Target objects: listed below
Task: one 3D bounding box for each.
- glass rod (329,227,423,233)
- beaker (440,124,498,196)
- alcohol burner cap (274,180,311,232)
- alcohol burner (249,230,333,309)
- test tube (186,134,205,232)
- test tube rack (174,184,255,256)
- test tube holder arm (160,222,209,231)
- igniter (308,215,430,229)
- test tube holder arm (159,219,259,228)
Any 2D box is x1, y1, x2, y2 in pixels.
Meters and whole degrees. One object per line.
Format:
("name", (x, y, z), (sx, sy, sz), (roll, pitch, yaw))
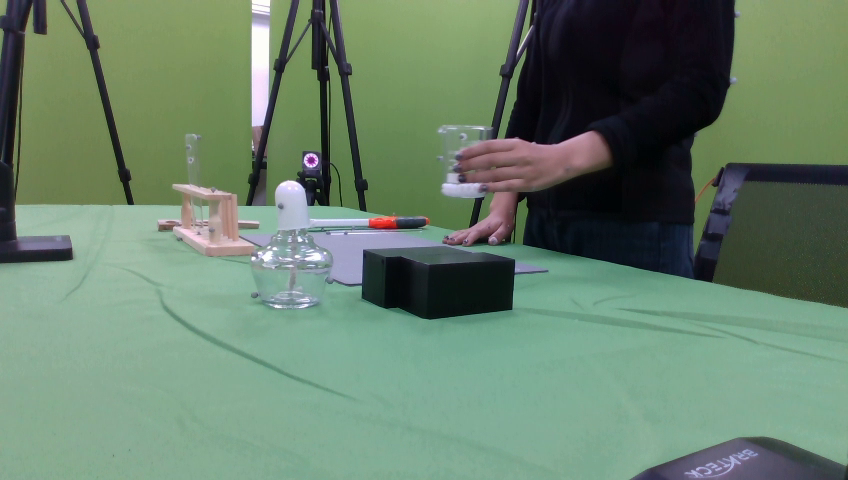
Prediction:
("glass rod", (-0.087, -0.019, 1.148), (0.201, 0.008, 0.008), (-3, 8, -32))
("beaker", (0.062, -0.116, 0.866), (0.084, 0.100, 0.074), (5, 11, 19))
("alcohol burner cap", (-0.125, -0.032, 0.563), (0.034, 0.048, 0.034), (-5, 6, 1))
("alcohol burner", (-0.125, 0.004, 0.568), (0.078, 0.119, 0.078), (2, 10, 0))
("test tube", (-0.350, -0.087, 0.928), (0.017, 0.150, 0.017), (-3, 5, 1))
("test tube rack", (-0.327, -0.036, 0.928), (0.067, 0.085, 0.241), (-2, 9, -32))
("test tube holder arm", (-0.422, -0.024, 1.075), (0.088, 0.015, 0.010), (-3, 44, -38))
("igniter", (-0.109, -0.037, 1.228), (0.278, 0.025, 0.057), (-3, -1, -35))
("test tube holder arm", (-0.390, -0.030, 1.107), (0.179, 0.015, 0.013), (-3, 44, -39))
